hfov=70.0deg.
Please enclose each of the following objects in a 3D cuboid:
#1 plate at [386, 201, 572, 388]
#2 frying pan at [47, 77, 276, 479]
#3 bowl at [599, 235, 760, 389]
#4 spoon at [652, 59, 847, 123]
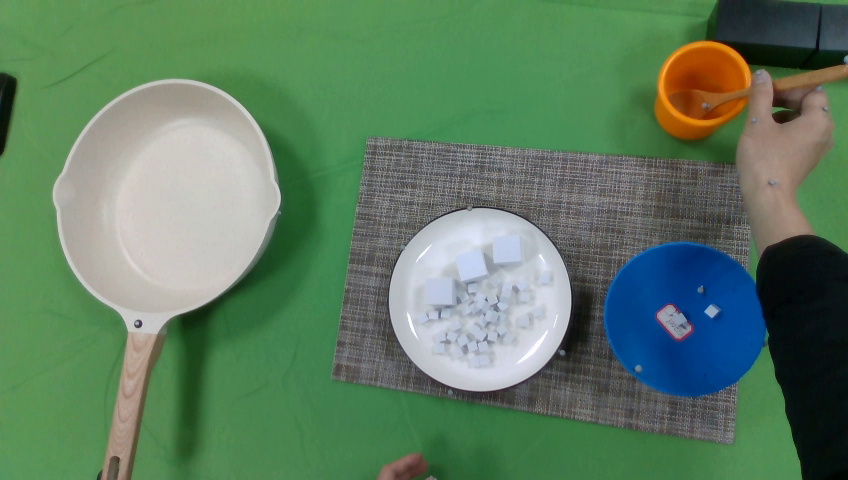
[{"bbox_3d":[0.061,0.061,0.687,0.207,0.039,0.207,-1,83,11],"label":"plate"},{"bbox_3d":[-0.328,0.047,0.733,0.306,0.103,0.485,4,75,12],"label":"frying pan"},{"bbox_3d":[0.254,0.075,0.626,0.151,0.077,0.151,-1,82,10],"label":"bowl"},{"bbox_3d":[0.317,-0.151,0.610,0.022,0.192,0.041,1,89,-31],"label":"spoon"}]
